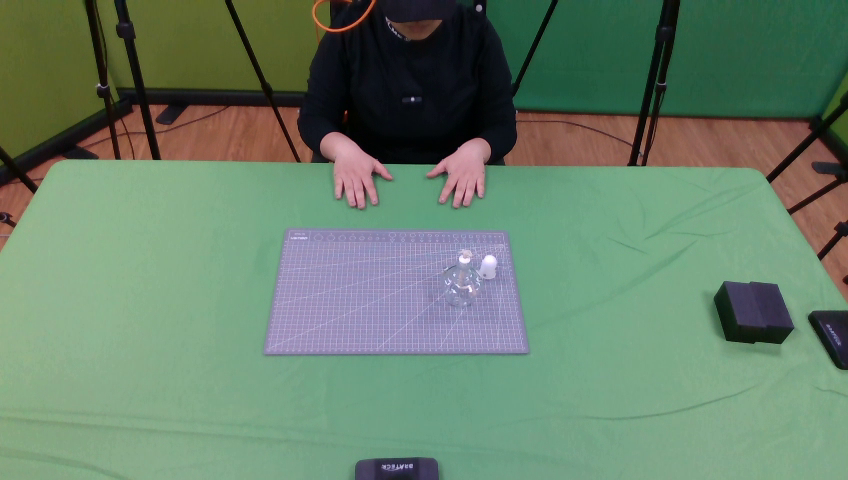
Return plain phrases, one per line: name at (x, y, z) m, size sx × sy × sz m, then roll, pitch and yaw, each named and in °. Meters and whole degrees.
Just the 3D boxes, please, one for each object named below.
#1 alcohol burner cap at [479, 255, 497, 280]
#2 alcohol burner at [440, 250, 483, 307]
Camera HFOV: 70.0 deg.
alcohol burner cap at (0.122, 0.050, 1.143) m, size 0.034 × 0.048 × 0.033 m, roll 2°, pitch 45°, yaw -2°
alcohol burner at (0.068, 0.063, 1.076) m, size 0.078 × 0.120 × 0.077 m, roll 1°, pitch 45°, yaw -1°
